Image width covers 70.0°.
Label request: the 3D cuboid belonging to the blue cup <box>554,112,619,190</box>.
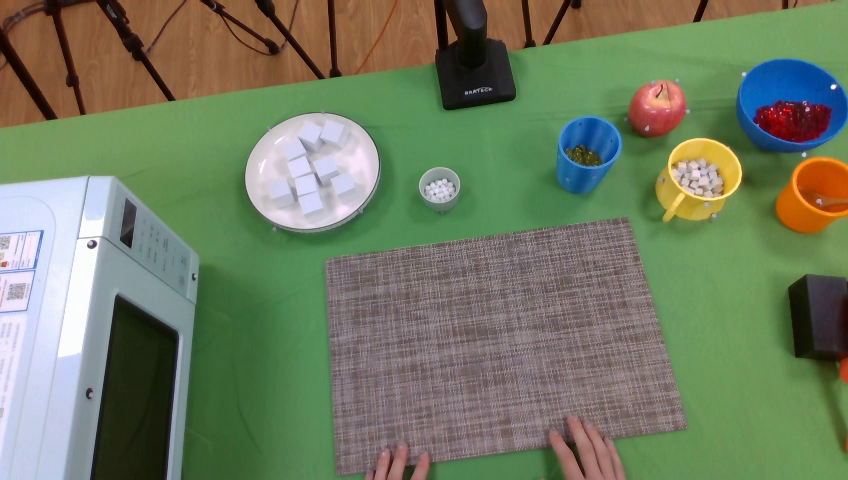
[{"bbox_3d":[0.227,-0.121,0.875,0.092,0.101,0.092,-1,68,3],"label":"blue cup"}]

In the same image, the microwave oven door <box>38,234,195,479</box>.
[{"bbox_3d":[-0.337,0.201,0.683,0.039,0.245,0.353,-5,67,2],"label":"microwave oven door"}]

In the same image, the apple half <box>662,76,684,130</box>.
[{"bbox_3d":[0.372,-0.205,0.913,0.033,0.082,0.080,-3,66,6],"label":"apple half"}]

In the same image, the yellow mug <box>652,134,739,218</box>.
[{"bbox_3d":[0.378,-0.082,0.866,0.099,0.064,0.130,38,76,18],"label":"yellow mug"}]

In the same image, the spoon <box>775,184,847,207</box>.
[{"bbox_3d":[0.561,-0.053,0.796,0.041,0.192,0.022,-48,115,-15],"label":"spoon"}]

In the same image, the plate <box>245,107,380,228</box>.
[{"bbox_3d":[-0.168,-0.108,0.933,0.207,0.039,0.206,-1,67,4],"label":"plate"}]

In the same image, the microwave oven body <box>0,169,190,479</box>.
[{"bbox_3d":[-0.485,0.178,0.710,0.326,0.262,0.438,-5,67,2],"label":"microwave oven body"}]

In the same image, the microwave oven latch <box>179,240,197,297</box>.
[{"bbox_3d":[-0.342,0.041,0.862,0.030,0.030,0.078,-3,68,2],"label":"microwave oven latch"}]

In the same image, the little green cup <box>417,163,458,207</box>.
[{"bbox_3d":[0.022,-0.080,0.907,0.061,0.039,0.061,-2,67,4],"label":"little green cup"}]

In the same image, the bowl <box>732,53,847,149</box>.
[{"bbox_3d":[0.524,-0.190,0.895,0.151,0.077,0.150,-2,68,4],"label":"bowl"}]

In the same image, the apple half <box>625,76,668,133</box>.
[{"bbox_3d":[0.333,-0.202,0.917,0.053,0.075,0.080,-4,70,6],"label":"apple half"}]

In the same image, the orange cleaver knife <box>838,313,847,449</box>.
[{"bbox_3d":[0.533,0.150,0.748,0.012,0.077,0.211,6,97,9],"label":"orange cleaver knife"}]

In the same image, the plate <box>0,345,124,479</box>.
[{"bbox_3d":[-0.467,0.234,0.741,0.209,0.038,0.207,-1,67,3],"label":"plate"}]
